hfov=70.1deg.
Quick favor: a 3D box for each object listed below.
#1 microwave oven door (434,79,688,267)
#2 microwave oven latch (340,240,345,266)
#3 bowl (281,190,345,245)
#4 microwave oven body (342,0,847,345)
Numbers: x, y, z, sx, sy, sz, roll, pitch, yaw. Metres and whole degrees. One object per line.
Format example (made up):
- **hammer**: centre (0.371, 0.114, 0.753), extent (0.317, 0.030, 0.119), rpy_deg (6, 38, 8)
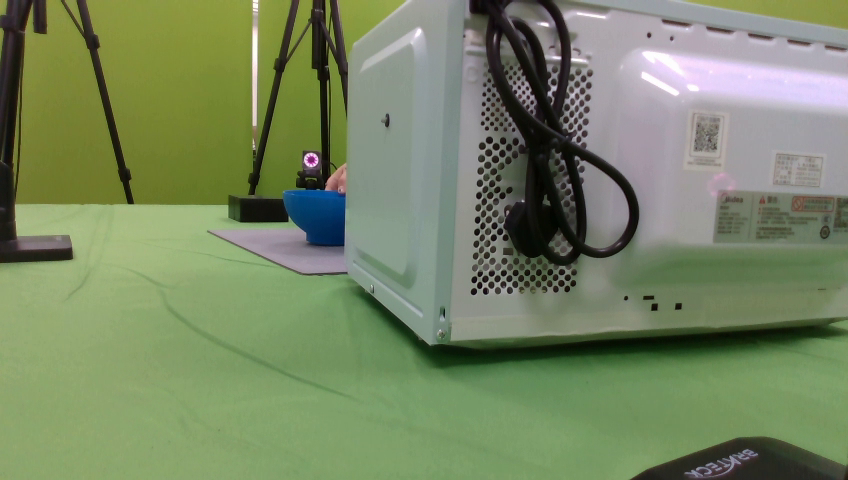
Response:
- **microwave oven door**: centre (0.179, -0.102, 0.868), extent (0.354, 0.243, 0.039), rpy_deg (7, 9, 31)
- **microwave oven latch**: centre (-0.052, 0.016, 0.662), extent (0.079, 0.029, 0.030), rpy_deg (1, 7, -19)
- **bowl**: centre (-0.151, -0.036, 0.967), extent (0.151, 0.077, 0.151), rpy_deg (4, 8, 0)
- **microwave oven body**: centre (0.169, -0.060, 0.573), extent (0.444, 0.260, 0.324), rpy_deg (1, 7, -20)
